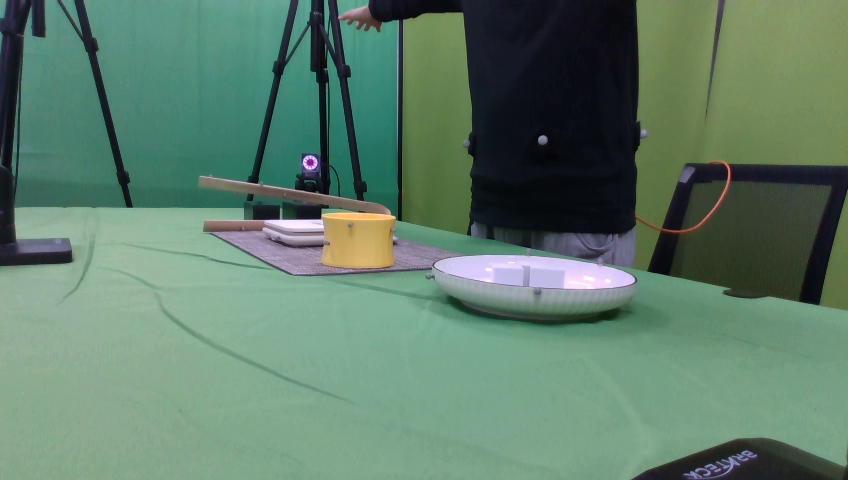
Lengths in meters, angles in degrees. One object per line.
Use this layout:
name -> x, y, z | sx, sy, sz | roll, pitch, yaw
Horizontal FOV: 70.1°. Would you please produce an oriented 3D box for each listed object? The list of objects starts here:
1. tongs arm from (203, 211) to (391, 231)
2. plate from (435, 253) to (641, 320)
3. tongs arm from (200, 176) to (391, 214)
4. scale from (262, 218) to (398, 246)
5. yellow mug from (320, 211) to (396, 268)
tongs arm -> -0.231, -0.036, 1.185 | 0.390, 0.028, 0.028 | -3, 33, -33
plate -> 0.114, 0.047, 0.626 | 0.208, 0.039, 0.207 | 2, 7, 0
tongs arm -> -0.257, -0.084, 1.245 | 0.387, 0.026, 0.050 | 6, 32, -22
scale -> -0.160, -0.016, 1.028 | 0.202, 0.031, 0.148 | -1, 9, -32
yellow mug -> -0.089, -0.005, 0.825 | 0.100, 0.064, 0.130 | 3, 7, -3
